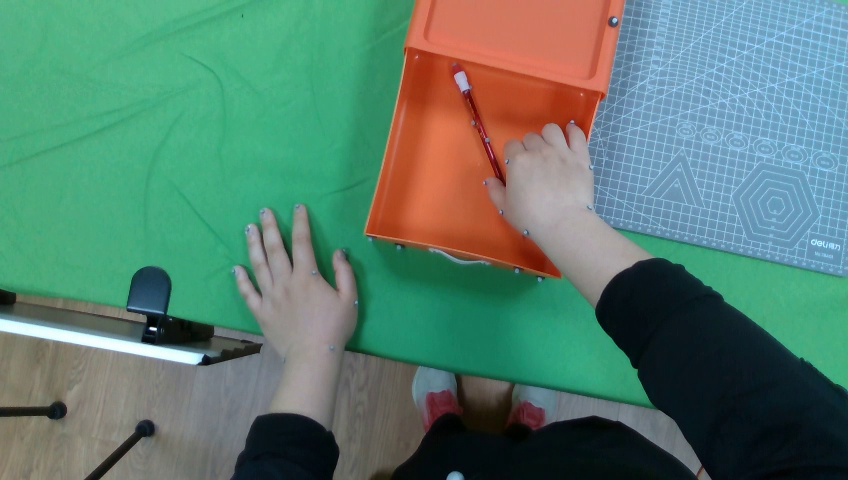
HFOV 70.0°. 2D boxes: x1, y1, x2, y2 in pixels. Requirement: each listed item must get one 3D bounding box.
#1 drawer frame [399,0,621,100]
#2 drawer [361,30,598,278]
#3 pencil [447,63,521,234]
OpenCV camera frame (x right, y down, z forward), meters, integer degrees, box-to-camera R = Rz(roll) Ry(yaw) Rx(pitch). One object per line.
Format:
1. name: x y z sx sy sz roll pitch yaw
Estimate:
1. drawer frame: 0.095 -0.256 0.619 0.202 0.083 0.213 12 84 0
2. drawer: 0.056 -0.081 0.606 0.194 0.073 0.211 12 88 0
3. pencil: 0.065 -0.096 0.635 0.012 0.012 0.194 -22 89 -3
